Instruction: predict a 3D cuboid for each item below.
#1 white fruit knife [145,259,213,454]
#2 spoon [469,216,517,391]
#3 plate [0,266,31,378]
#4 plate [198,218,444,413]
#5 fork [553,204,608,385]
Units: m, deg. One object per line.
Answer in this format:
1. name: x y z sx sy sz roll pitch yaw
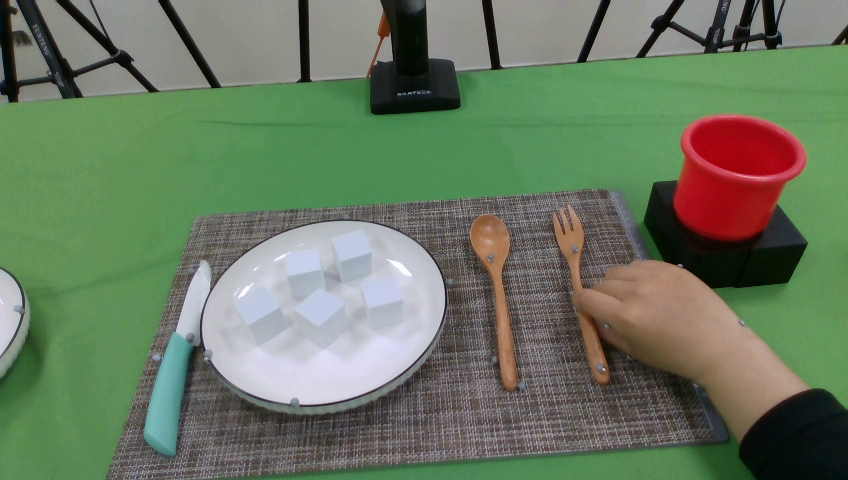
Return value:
1. white fruit knife: -0.207 0.088 0.525 0.027 0.016 0.205 17 37 -21
2. spoon: 0.066 0.049 0.544 0.042 0.022 0.191 11 42 -11
3. plate: -0.443 0.100 0.514 0.209 0.038 0.207 -1 43 2
4. plate: -0.086 0.062 0.528 0.207 0.039 0.205 -1 44 2
5. fork: 0.141 0.041 0.546 0.028 0.019 0.205 -26 36 24
